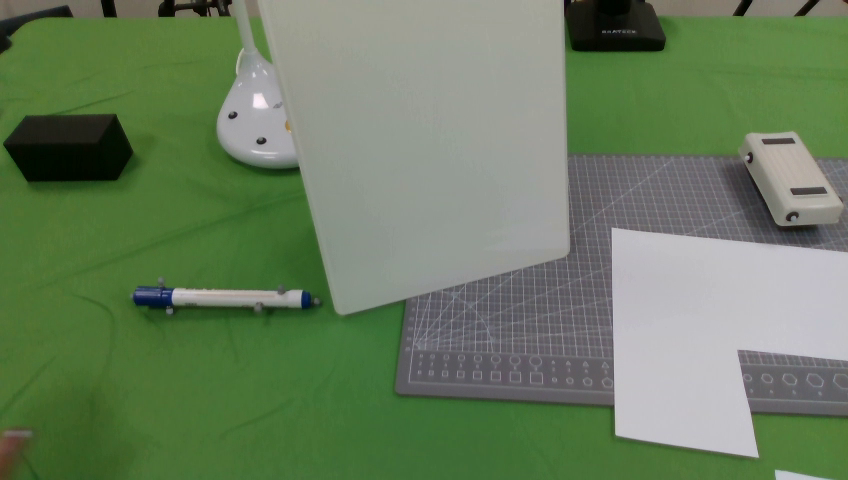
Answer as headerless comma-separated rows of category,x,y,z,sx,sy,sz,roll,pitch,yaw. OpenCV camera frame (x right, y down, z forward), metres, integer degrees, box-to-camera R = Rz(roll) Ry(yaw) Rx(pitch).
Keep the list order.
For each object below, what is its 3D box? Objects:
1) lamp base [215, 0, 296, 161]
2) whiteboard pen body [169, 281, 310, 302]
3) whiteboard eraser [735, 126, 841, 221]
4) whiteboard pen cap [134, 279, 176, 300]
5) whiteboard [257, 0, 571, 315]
lamp base,-0.168,-0.203,0.643,0.160,0.182,0.177,-36,52,-27
whiteboard pen body,-0.169,0.044,0.519,0.141,0.017,0.017,1,46,-1
whiteboard eraser,0.344,-0.062,0.579,0.055,0.042,0.111,0,47,1
whiteboard pen cap,-0.228,0.042,0.519,0.033,0.018,0.018,3,46,-3
whiteboard,-0.008,-0.125,0.516,0.217,0.308,0.142,-14,28,-9
